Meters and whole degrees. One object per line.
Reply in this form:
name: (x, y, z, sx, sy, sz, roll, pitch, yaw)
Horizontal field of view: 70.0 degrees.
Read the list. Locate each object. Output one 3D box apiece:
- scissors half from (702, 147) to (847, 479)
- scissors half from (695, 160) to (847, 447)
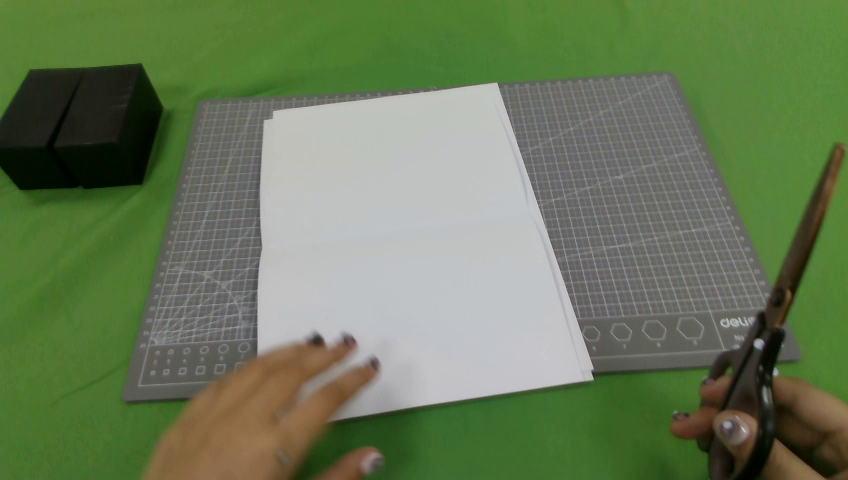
scissors half: (0.167, 0.042, 0.286, 0.013, 0.175, 0.040, 14, 13, 6)
scissors half: (0.172, 0.036, 0.304, 0.013, 0.176, 0.040, 16, 30, 11)
